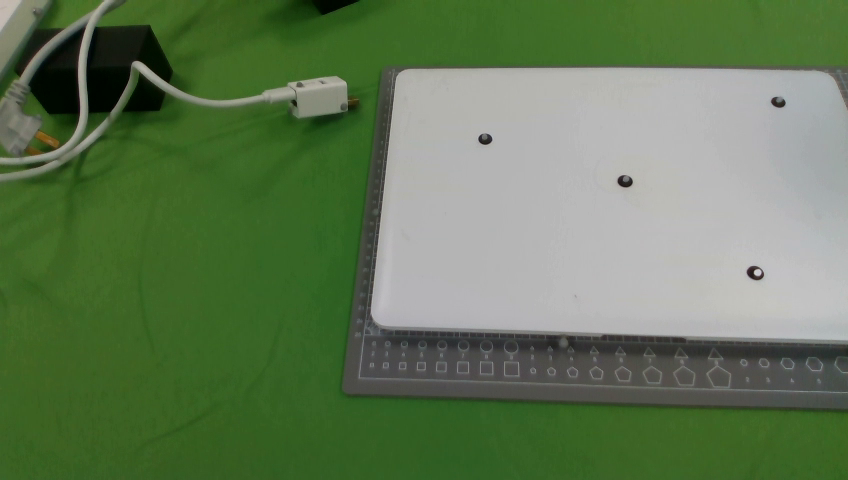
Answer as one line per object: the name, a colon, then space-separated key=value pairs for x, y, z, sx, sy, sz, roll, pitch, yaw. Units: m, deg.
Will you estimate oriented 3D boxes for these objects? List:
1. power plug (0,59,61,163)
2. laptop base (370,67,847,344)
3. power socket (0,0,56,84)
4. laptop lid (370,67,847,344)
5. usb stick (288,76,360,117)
power plug: x=-0.308 y=-0.099 z=0.484 sx=0.072 sy=0.053 sz=0.035 roll=-52 pitch=35 yaw=5
laptop base: x=0.146 y=-0.035 z=0.449 sx=0.354 sy=0.023 sz=0.233 roll=1 pitch=62 yaw=3
power socket: x=-0.417 y=-0.174 z=0.555 sx=0.072 sy=0.033 sz=0.225 roll=5 pitch=58 yaw=5
laptop lid: x=0.145 y=-0.039 z=0.437 sx=0.356 sy=0.013 sz=0.239 roll=3 pitch=60 yaw=5
usb stick: x=-0.081 y=-0.120 z=0.503 sx=0.059 sy=0.027 sz=0.021 roll=-15 pitch=33 yaw=-31
